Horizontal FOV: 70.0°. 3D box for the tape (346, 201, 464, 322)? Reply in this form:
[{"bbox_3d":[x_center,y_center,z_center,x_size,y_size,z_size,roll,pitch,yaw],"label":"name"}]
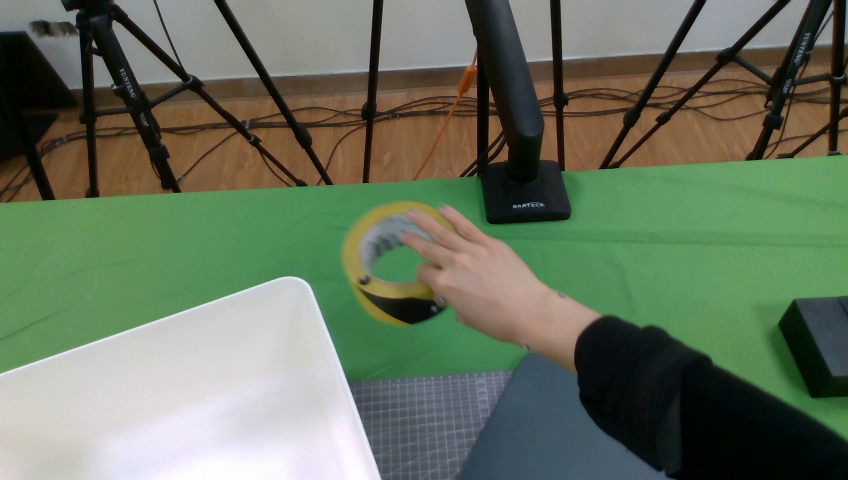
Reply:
[{"bbox_3d":[-0.019,0.020,0.591,0.117,0.053,0.115,-3,54,4],"label":"tape"}]

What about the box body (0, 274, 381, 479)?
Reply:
[{"bbox_3d":[-0.234,0.221,0.553,0.364,0.162,0.251,-20,52,-13],"label":"box body"}]

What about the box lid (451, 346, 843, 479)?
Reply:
[{"bbox_3d":[0.218,0.273,0.588,0.369,0.015,0.262,23,55,20],"label":"box lid"}]
